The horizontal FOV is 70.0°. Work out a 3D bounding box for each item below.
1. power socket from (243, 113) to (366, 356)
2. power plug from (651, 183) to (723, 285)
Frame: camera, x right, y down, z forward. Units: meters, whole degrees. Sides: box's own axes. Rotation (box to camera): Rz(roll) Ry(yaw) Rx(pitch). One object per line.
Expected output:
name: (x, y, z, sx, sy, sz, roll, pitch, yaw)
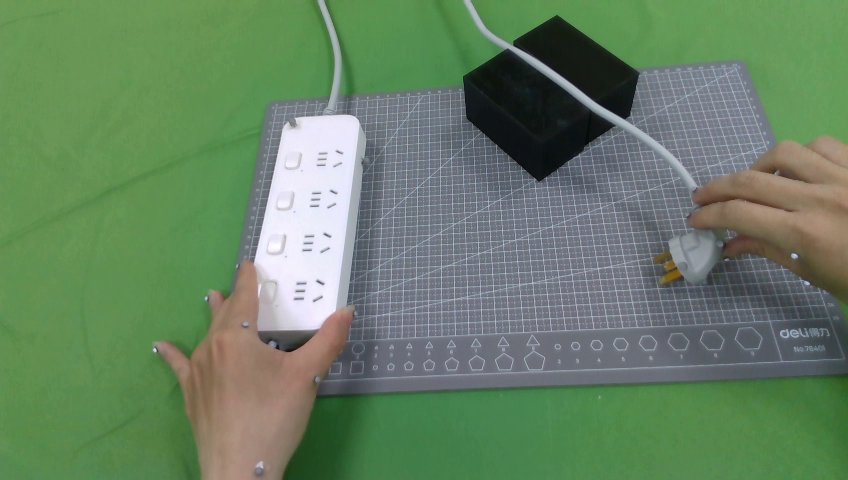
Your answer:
power socket: (-0.092, -0.018, 0.496, 0.072, 0.033, 0.224, 0, 58, 6)
power plug: (0.191, 0.001, 0.444, 0.052, 0.035, 0.072, -34, 26, 38)
